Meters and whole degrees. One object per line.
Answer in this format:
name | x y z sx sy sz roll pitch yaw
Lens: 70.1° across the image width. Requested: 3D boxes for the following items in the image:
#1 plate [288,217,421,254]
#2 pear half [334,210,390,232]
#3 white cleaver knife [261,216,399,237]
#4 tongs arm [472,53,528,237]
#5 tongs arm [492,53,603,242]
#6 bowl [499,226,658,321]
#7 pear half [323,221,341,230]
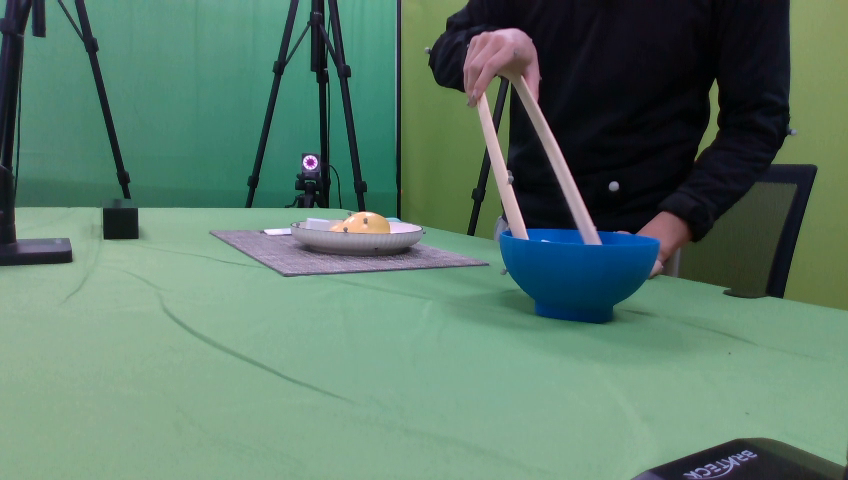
plate | -0.109 -0.007 0.956 0.208 0.039 0.207 2 7 0
pear half | -0.107 -0.016 0.920 0.110 0.056 0.076 -5 5 -20
white cleaver knife | -0.169 -0.021 1.156 0.288 0.021 0.065 -7 21 -33
tongs arm | 0.098 -0.110 0.705 0.051 0.026 0.383 -1 46 -10
tongs arm | 0.143 -0.109 0.713 0.028 0.028 0.386 -5 47 -9
bowl | 0.145 0.032 0.586 0.151 0.077 0.151 2 6 0
pear half | -0.126 -0.019 1.001 0.088 0.031 0.070 9 4 1
